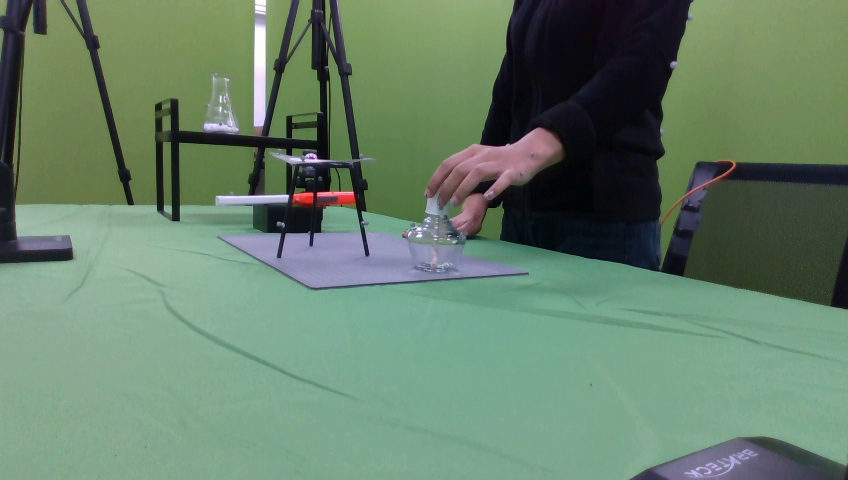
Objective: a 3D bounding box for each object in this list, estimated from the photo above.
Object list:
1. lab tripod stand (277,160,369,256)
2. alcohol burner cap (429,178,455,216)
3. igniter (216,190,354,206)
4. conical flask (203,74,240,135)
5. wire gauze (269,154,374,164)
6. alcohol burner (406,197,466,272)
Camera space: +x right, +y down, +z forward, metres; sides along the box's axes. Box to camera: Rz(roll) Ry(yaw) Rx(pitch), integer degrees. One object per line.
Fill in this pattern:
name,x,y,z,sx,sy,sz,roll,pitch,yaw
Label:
lab tripod stand,-0.149,-0.046,0.861,0.148,0.131,0.148,3,9,0
alcohol burner cap,0.022,-0.054,0.769,0.034,0.048,0.034,-3,4,1
igniter,-0.248,-0.079,1.142,0.278,0.025,0.057,-5,8,-31
conical flask,-0.425,-0.284,1.271,0.075,0.122,0.075,3,7,0
wire gauze,-0.146,-0.114,0.860,0.122,0.011,0.124,-2,9,-29
alcohol burner,0.016,-0.018,0.777,0.078,0.119,0.078,4,8,0
